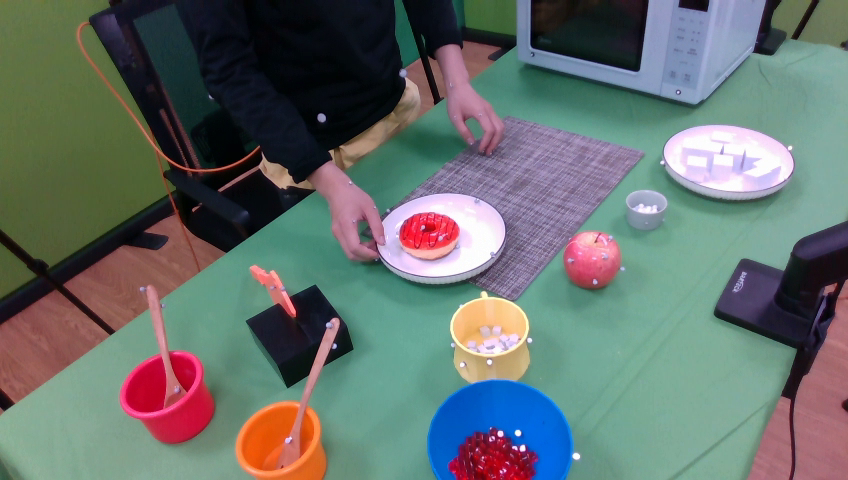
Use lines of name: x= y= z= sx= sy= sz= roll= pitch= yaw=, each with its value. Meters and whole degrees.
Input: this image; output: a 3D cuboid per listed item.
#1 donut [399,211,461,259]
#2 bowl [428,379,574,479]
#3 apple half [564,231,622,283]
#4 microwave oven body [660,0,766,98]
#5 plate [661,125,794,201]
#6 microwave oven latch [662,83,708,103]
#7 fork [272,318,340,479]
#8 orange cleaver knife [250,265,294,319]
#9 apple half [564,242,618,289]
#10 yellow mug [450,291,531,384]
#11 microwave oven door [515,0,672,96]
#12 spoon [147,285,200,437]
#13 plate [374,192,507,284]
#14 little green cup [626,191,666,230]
donut: x=0.009 y=-0.009 z=0.948 sx=0.099 sy=0.048 sz=0.098 roll=-4 pitch=39 yaw=4
bowl: x=0.082 y=0.233 z=0.644 sx=0.151 sy=0.077 sz=0.150 roll=-4 pitch=40 yaw=4
apple half: x=0.248 y=0.021 z=0.874 sx=0.080 sy=0.075 sz=0.053 roll=13 pitch=40 yaw=28
microwave oven body: x=0.472 y=-0.513 z=1.317 sx=0.438 sy=0.261 sz=0.327 roll=26 pitch=51 yaw=34
plate: x=0.513 y=-0.128 z=1.035 sx=0.207 sy=0.039 sz=0.206 roll=-4 pitch=40 yaw=4
microwave oven latch: x=0.517 y=-0.296 z=1.204 sx=0.078 sy=0.029 sz=0.030 roll=27 pitch=52 yaw=35
fork: x=-0.131 y=0.186 z=0.676 sx=0.028 sy=0.019 sz=0.207 roll=18 pitch=90 yaw=28
orange cleaver knife: x=-0.221 y=0.073 z=0.876 sx=0.012 sy=0.077 sz=0.210 roll=-24 pitch=12 yaw=-22
apple half: x=0.229 y=0.044 z=0.848 sx=0.081 sy=0.081 sz=0.033 roll=16 pitch=41 yaw=26
yellow mug: x=0.085 y=0.120 z=0.786 sx=0.100 sy=0.064 sz=0.130 roll=-7 pitch=39 yaw=1
microwave oven door: x=0.343 y=-0.455 z=1.259 sx=0.353 sy=0.245 sz=0.039 roll=26 pitch=51 yaw=33
spoon: x=-0.318 y=0.148 z=0.754 sx=0.042 sy=0.021 sz=0.193 roll=-15 pitch=85 yaw=-11
plate: x=0.027 y=0.000 z=0.952 sx=0.209 sy=0.038 sz=0.208 roll=-4 pitch=40 yaw=4
little green cup: x=0.352 y=-0.046 z=0.963 sx=0.061 sy=0.039 sz=0.061 roll=-4 pitch=40 yaw=4
